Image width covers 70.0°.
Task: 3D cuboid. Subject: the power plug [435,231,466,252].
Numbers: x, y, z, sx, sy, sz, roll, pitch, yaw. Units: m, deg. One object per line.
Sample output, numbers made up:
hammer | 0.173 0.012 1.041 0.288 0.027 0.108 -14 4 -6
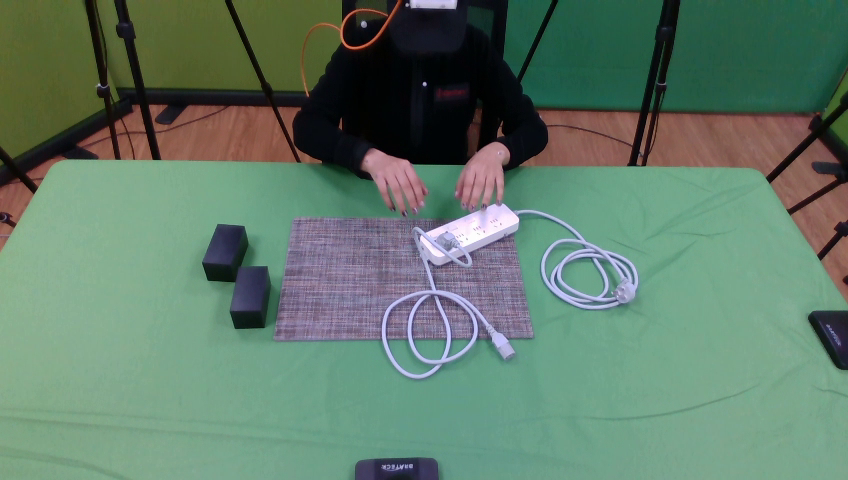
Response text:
power plug | 0.047 0.015 1.142 0.035 0.053 0.072 -14 48 -16

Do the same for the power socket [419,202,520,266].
power socket | 0.093 -0.014 1.204 0.227 0.033 0.072 -23 52 -24
